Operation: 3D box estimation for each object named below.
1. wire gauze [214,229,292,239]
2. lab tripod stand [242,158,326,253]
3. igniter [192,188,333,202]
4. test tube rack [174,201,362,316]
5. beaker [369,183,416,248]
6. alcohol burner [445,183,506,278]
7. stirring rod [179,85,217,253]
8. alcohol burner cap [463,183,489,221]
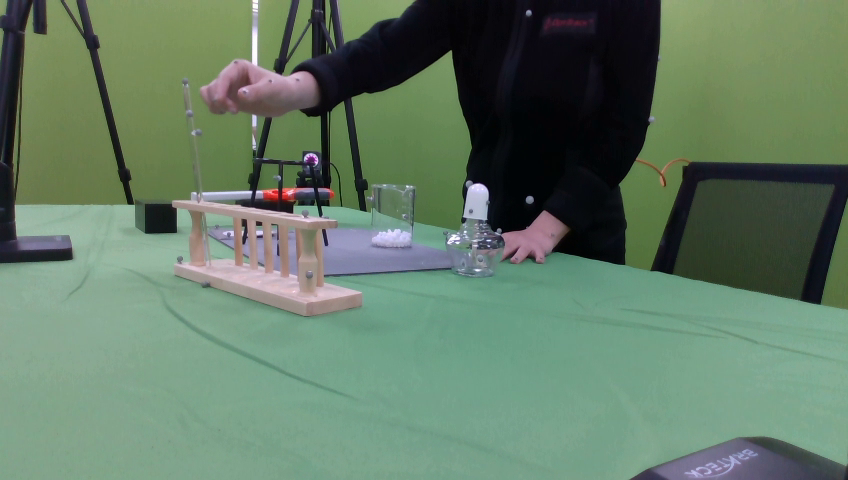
[{"bbox_3d":[-0.298,-0.013,1.039,0.122,0.011,0.124,-2,6,-27],"label":"wire gauze"},{"bbox_3d":[-0.207,-0.054,0.895,0.148,0.131,0.148,3,5,0],"label":"lab tripod stand"},{"bbox_3d":[-0.316,-0.090,1.213,0.278,0.025,0.057,-5,12,-32],"label":"igniter"},{"bbox_3d":[-0.169,0.010,0.622,0.241,0.085,0.067,9,9,41],"label":"test tube rack"},{"bbox_3d":[-0.050,-0.039,0.971,0.074,0.100,0.083,-1,9,-25],"label":"beaker"},{"bbox_3d":[0.065,-0.013,0.770,0.078,0.119,0.078,0,7,0],"label":"alcohol burner"},{"bbox_3d":[-0.236,-0.073,0.634,0.006,0.176,0.014,0,9,41],"label":"stirring rod"},{"bbox_3d":[0.067,-0.048,0.765,0.034,0.048,0.034,5,5,0],"label":"alcohol burner cap"}]
